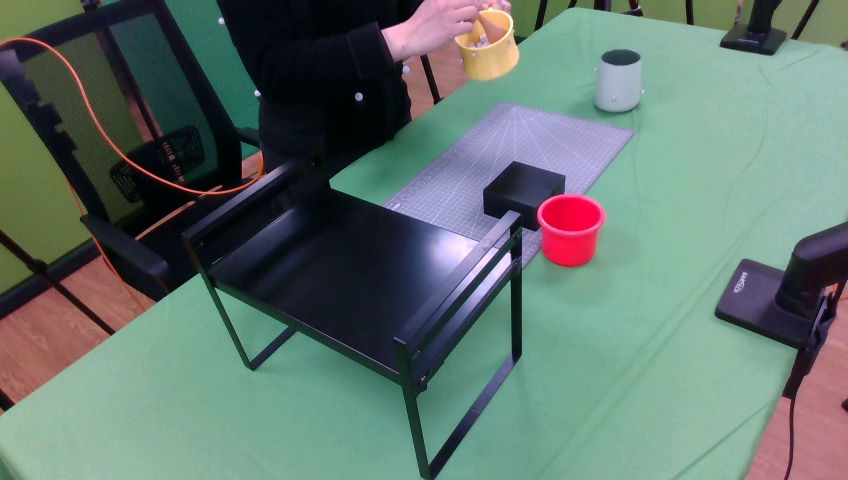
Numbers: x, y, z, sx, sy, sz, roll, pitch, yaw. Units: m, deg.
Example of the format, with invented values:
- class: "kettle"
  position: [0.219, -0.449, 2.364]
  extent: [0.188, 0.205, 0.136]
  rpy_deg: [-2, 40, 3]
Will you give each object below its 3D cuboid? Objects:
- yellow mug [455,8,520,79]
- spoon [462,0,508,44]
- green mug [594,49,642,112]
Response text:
- class: "yellow mug"
  position: [0.112, -0.343, 1.030]
  extent: [0.099, 0.064, 0.130]
  rpy_deg: [2, 56, 21]
- class: "spoon"
  position: [0.084, -0.364, 0.964]
  extent: [0.041, 0.195, 0.021]
  rpy_deg: [-52, 34, -2]
- class: "green mug"
  position: [0.397, -0.333, 1.240]
  extent: [0.092, 0.105, 0.125]
  rpy_deg: [-3, 41, 7]
